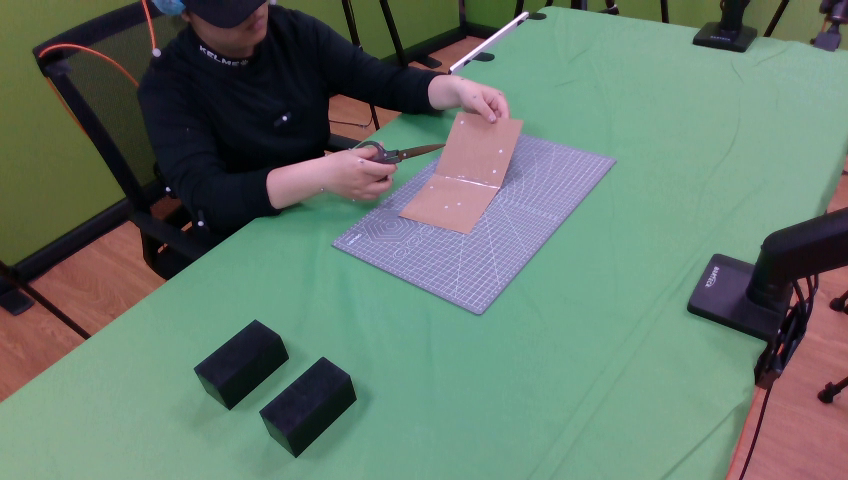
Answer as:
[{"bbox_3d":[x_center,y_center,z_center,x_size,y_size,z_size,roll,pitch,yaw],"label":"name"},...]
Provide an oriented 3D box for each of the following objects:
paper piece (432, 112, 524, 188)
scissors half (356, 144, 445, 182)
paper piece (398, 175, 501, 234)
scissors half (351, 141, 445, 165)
[{"bbox_3d":[0.099,-0.167,1.105,0.135,0.009,0.138,16,76,22],"label":"paper piece"},{"bbox_3d":[-0.041,-0.136,1.035,0.174,0.040,0.013,-18,14,26],"label":"scissors half"},{"bbox_3d":[0.045,-0.066,1.047,0.135,0.004,0.135,15,45,24],"label":"paper piece"},{"bbox_3d":[-0.047,-0.154,1.029,0.174,0.040,0.013,-2,25,21],"label":"scissors half"}]
